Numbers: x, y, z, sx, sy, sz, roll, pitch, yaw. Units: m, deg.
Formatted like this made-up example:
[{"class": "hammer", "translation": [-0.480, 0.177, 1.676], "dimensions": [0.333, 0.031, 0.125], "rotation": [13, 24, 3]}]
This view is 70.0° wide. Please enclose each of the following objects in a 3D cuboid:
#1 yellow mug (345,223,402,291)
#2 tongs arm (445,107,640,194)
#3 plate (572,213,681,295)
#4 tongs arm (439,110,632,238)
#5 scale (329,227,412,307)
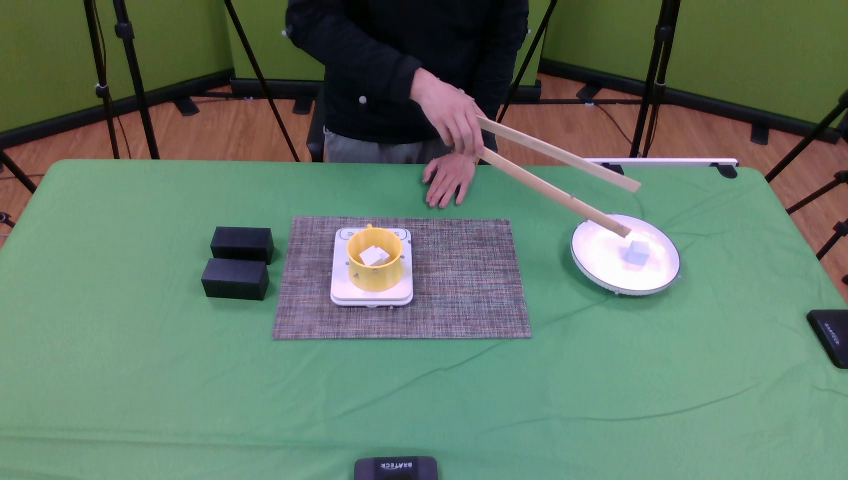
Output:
[{"class": "yellow mug", "translation": [-0.092, 0.022, 1.093], "dimensions": [0.100, 0.064, 0.130], "rotation": [-8, 46, -10]}, {"class": "tongs arm", "translation": [0.217, -0.162, 1.110], "dimensions": [0.388, 0.028, 0.028], "rotation": [22, 55, -4]}, {"class": "plate", "translation": [0.393, 0.030, 1.189], "dimensions": [0.208, 0.039, 0.206], "rotation": [2, 46, -2]}, {"class": "tongs arm", "translation": [0.193, -0.116, 1.066], "dimensions": [0.385, 0.026, 0.050], "rotation": [28, 51, 2]}, {"class": "scale", "translation": [-0.099, 0.042, 1.139], "dimensions": [0.149, 0.032, 0.199], "rotation": [1, 46, -4]}]
